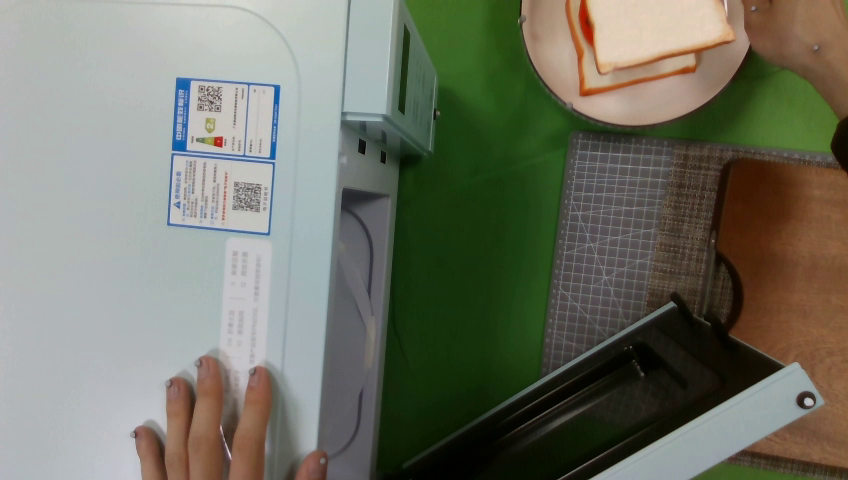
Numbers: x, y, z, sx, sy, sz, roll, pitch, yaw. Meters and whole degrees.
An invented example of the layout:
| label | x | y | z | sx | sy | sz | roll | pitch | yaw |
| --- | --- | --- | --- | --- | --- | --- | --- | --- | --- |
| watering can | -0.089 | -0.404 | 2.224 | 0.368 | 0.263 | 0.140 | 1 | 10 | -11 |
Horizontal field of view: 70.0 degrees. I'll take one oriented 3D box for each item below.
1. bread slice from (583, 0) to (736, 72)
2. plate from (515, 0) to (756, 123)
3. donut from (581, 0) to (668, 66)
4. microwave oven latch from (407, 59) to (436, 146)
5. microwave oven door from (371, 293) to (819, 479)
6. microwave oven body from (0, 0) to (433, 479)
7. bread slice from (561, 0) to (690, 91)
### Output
| label | x | y | z | sx | sy | sz | roll | pitch | yaw |
| --- | --- | --- | --- | --- | --- | --- | --- | --- | --- |
| bread slice | 0.177 | -0.209 | 0.494 | 0.107 | 0.018 | 0.134 | -16 | 82 | 6 |
| plate | 0.186 | -0.208 | 0.552 | 0.207 | 0.039 | 0.207 | 0 | 90 | 6 |
| donut | 0.184 | -0.201 | 0.523 | 0.099 | 0.048 | 0.099 | 0 | 94 | 0 |
| microwave oven latch | -0.004 | -0.131 | 0.576 | 0.030 | 0.029 | 0.079 | 6 | 95 | 6 |
| microwave oven door | 0.088 | 0.168 | 0.483 | 0.356 | 0.244 | 0.039 | -34 | 89 | 8 |
| microwave oven body | -0.178 | 0.037 | 0.511 | 0.325 | 0.260 | 0.442 | 5 | 95 | 6 |
| bread slice | 0.179 | -0.210 | 0.555 | 0.105 | 0.019 | 0.131 | -13 | 93 | 3 |
